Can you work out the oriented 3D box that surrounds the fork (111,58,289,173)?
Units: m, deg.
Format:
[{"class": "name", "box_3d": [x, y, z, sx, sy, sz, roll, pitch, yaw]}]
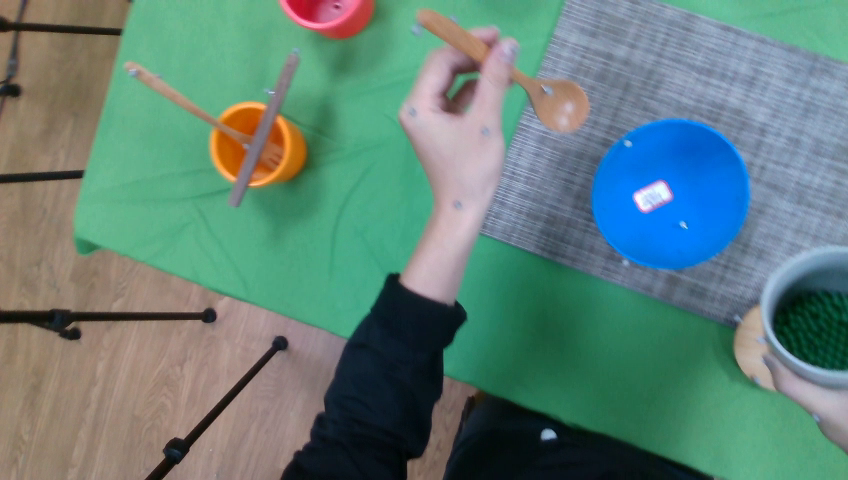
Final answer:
[{"class": "fork", "box_3d": [-0.234, -0.131, 0.653, 0.028, 0.018, 0.209, -44, 133, 16]}]

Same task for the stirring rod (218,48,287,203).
[{"class": "stirring rod", "box_3d": [-0.184, -0.121, 0.647, 0.014, 0.006, 0.176, 24, 99, -2]}]

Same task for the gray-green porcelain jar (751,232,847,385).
[{"class": "gray-green porcelain jar", "box_3d": [0.339, 0.064, 0.512, 0.105, 0.128, 0.105, -13, 63, 27]}]

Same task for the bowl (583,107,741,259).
[{"class": "bowl", "box_3d": [0.239, -0.059, 0.636, 0.151, 0.077, 0.151, 1, 96, 7]}]

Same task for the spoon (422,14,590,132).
[{"class": "spoon", "box_3d": [0.069, -0.123, 0.453, 0.042, 0.195, 0.021, -53, 51, 20]}]

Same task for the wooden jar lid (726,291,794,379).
[{"class": "wooden jar lid", "box_3d": [0.387, 0.098, 0.663, 0.108, 0.020, 0.108, 2, 101, 10]}]
